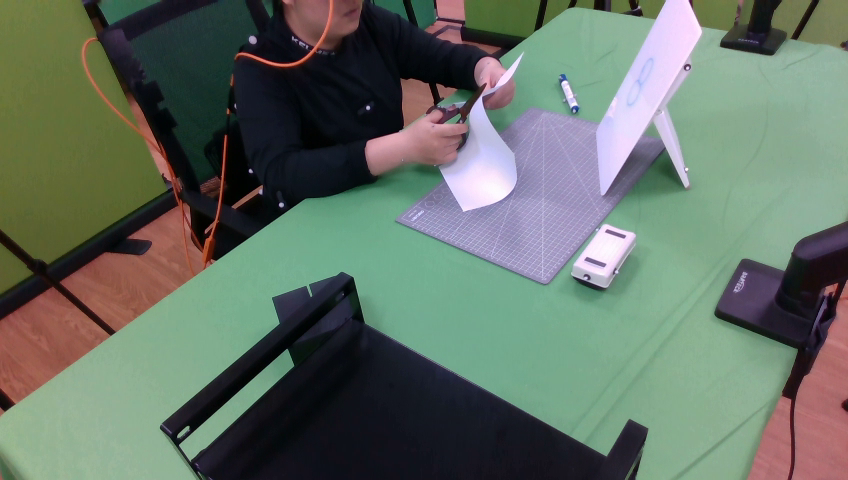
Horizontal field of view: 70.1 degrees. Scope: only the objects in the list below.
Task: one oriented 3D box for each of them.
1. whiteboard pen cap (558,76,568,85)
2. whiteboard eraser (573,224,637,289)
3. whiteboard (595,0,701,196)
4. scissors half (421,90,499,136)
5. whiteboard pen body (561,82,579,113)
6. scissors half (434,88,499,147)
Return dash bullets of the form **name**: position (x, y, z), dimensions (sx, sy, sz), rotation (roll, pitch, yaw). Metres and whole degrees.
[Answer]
- **whiteboard pen cap**: position (0.310, -0.350, 1.341), dimensions (0.018, 0.018, 0.033), rotation (-6, 41, 2)
- **whiteboard eraser**: position (0.267, 0.025, 0.891), dimensions (0.055, 0.042, 0.113), rotation (19, 47, 31)
- **whiteboard**: position (0.421, -0.227, 1.010), dimensions (0.144, 0.305, 0.216), rotation (18, 42, -2)
- **scissors half**: position (0.061, -0.224, 1.045), dimensions (0.174, 0.040, 0.013), rotation (-19, 37, 38)
- **whiteboard pen body**: position (0.310, -0.311, 1.298), dimensions (0.017, 0.017, 0.140), rotation (-6, 41, 2)
- **scissors half**: position (0.075, -0.212, 1.054), dimensions (0.040, 0.174, 0.013), rotation (29, 52, -19)
